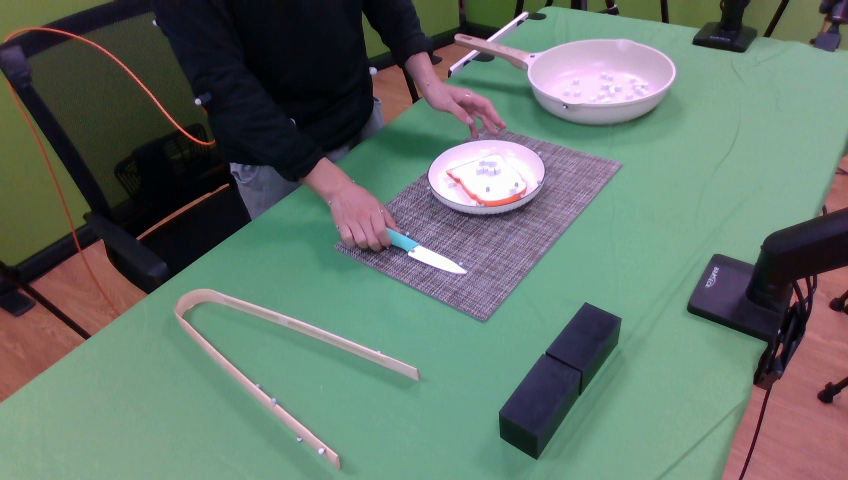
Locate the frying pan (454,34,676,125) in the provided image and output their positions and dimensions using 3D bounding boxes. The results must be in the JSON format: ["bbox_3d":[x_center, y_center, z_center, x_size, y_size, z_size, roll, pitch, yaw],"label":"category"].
[{"bbox_3d":[0.277,-0.370,1.295,0.485,0.103,0.307,26,49,22],"label":"frying pan"}]

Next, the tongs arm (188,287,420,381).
[{"bbox_3d":[-0.177,0.126,0.842,0.385,0.028,0.028,15,48,24],"label":"tongs arm"}]

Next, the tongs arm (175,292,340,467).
[{"bbox_3d":[-0.225,0.168,0.793,0.381,0.026,0.051,25,49,33],"label":"tongs arm"}]

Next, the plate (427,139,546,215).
[{"bbox_3d":[0.109,-0.107,1.059,0.207,0.039,0.206,-4,40,4],"label":"plate"}]

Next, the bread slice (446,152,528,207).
[{"bbox_3d":[0.118,-0.104,1.057,0.107,0.018,0.133,-24,42,-17],"label":"bread slice"}]

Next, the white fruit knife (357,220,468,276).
[{"bbox_3d":[-0.019,0.012,0.950,0.206,0.016,0.027,25,80,25],"label":"white fruit knife"}]
